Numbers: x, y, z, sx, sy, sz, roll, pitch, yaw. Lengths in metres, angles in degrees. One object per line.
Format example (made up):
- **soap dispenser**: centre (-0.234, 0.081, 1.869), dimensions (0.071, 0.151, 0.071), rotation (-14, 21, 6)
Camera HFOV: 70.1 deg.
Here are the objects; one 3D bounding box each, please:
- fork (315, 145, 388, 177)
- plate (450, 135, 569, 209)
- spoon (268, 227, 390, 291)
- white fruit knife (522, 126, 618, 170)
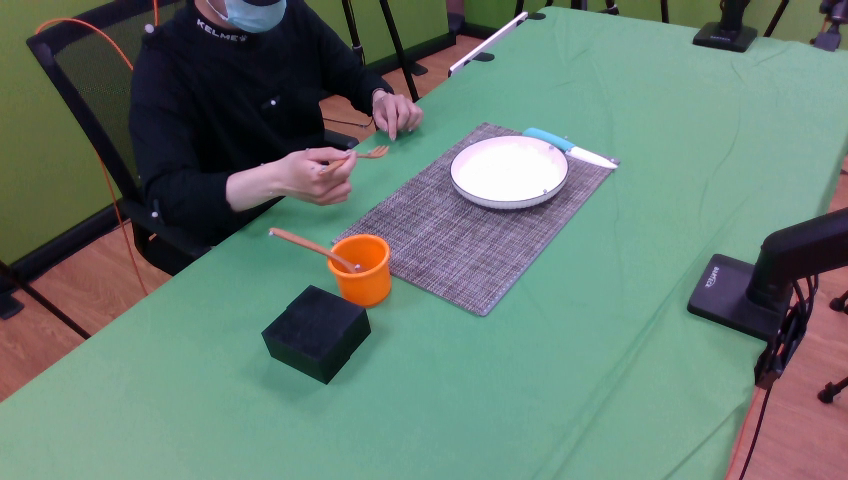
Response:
- **fork**: centre (-0.113, -0.129, 0.965), dimensions (0.028, 0.018, 0.208), rotation (14, 21, 21)
- **plate**: centre (0.149, -0.117, 1.066), dimensions (0.209, 0.038, 0.208), rotation (-4, 41, 4)
- **spoon**: centre (-0.132, 0.025, 0.862), dimensions (0.021, 0.195, 0.041), rotation (-41, 31, 32)
- **white fruit knife**: centre (0.272, -0.172, 1.132), dimensions (0.205, 0.016, 0.027), rotation (32, 82, 34)
